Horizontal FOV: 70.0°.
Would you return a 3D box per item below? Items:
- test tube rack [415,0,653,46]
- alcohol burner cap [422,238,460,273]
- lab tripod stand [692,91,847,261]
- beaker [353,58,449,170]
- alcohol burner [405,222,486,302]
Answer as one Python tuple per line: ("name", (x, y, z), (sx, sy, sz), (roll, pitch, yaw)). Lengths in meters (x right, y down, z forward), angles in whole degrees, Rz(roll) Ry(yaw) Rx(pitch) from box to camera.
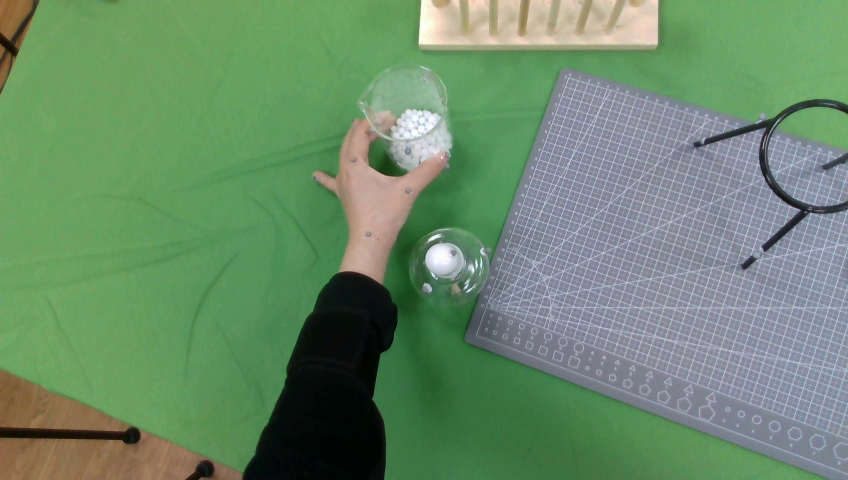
("test tube rack", (0.108, -0.241, 0.597), (0.242, 0.085, 0.066), (2, 83, 7))
("alcohol burner cap", (0.013, 0.013, 0.529), (0.034, 0.048, 0.034), (0, 86, 7))
("lab tripod stand", (0.309, -0.058, 0.523), (0.148, 0.132, 0.148), (-1, 85, 6))
("beaker", (-0.016, -0.113, 0.572), (0.084, 0.101, 0.073), (4, 78, 8))
("alcohol burner", (0.019, 0.018, 0.564), (0.078, 0.119, 0.077), (-1, 82, 6))
